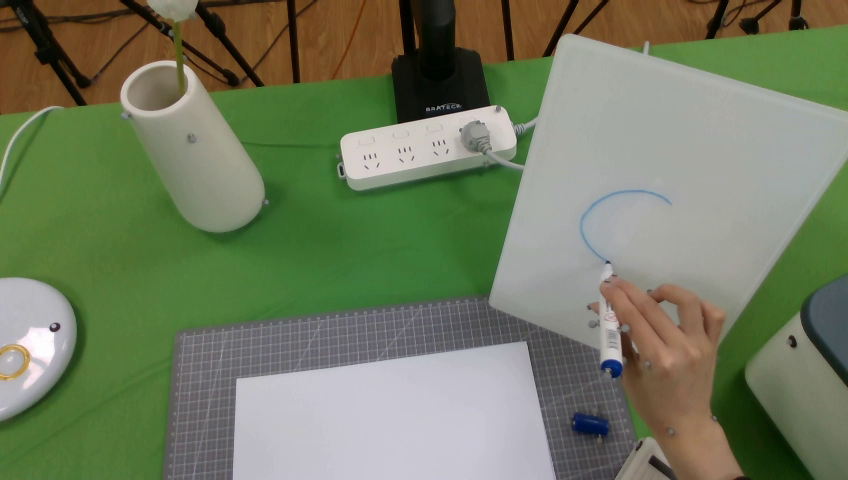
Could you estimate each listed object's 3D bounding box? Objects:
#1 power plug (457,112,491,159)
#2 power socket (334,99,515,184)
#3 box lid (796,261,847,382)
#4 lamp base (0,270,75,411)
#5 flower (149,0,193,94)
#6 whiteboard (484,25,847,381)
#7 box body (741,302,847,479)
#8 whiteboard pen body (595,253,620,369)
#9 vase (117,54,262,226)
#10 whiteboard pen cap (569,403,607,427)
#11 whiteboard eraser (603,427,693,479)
[{"bbox_3d":[0.057,-0.115,0.704,0.035,0.053,0.072,-2,68,1],"label":"power plug"},{"bbox_3d":[0.002,-0.120,0.733,0.227,0.033,0.071,-11,63,-5],"label":"power socket"},{"bbox_3d":[0.477,0.136,0.424,0.263,0.015,0.368,-23,64,-10],"label":"box lid"},{"bbox_3d":[-0.461,0.063,0.566,0.178,0.182,0.160,23,64,17],"label":"lamp base"},{"bbox_3d":[-0.223,-0.131,0.559,0.038,0.363,0.044,41,60,3],"label":"flower"},{"bbox_3d":[0.207,-0.048,0.569,0.216,0.308,0.143,22,44,14],"label":"whiteboard"},{"bbox_3d":[0.481,0.174,0.489,0.254,0.161,0.360,-23,64,-10],"label":"box body"},{"bbox_3d":[0.149,0.051,0.494,0.017,0.017,0.140,10,36,8],"label":"whiteboard pen body"},{"bbox_3d":[-0.241,-0.097,0.635,0.098,0.201,0.097,-1,61,3],"label":"vase"},{"bbox_3d":[0.157,0.169,0.581,0.033,0.018,0.018,11,62,4],"label":"whiteboard pen cap"},{"bbox_3d":[0.185,0.226,0.535,0.055,0.042,0.112,35,69,19],"label":"whiteboard eraser"}]
